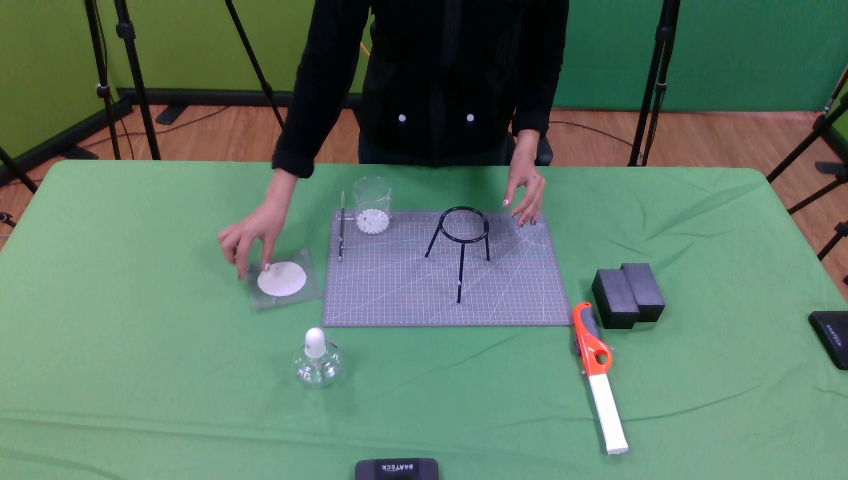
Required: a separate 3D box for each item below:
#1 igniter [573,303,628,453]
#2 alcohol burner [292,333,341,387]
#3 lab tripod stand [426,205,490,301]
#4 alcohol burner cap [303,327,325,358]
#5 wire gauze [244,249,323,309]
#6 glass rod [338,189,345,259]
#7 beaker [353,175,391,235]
[{"bbox_3d":[0.288,0.217,1.006,0.057,0.025,0.274,-9,46,8],"label":"igniter"},{"bbox_3d":[-0.170,0.179,0.950,0.078,0.120,0.077,2,48,-2],"label":"alcohol burner"},{"bbox_3d":[0.069,0.016,1.105,0.148,0.132,0.147,3,47,-3],"label":"lab tripod stand"},{"bbox_3d":[-0.169,0.154,0.924,0.034,0.048,0.033,4,41,-3],"label":"alcohol burner cap"},{"bbox_3d":[-0.262,0.073,1.120,0.125,0.011,0.120,-11,48,-17],"label":"wire gauze"},{"bbox_3d":[-0.166,-0.037,1.226,0.008,0.008,0.198,-1,47,-4],"label":"glass rod"},{"bbox_3d":[-0.104,-0.065,1.196,0.074,0.101,0.084,24,50,18],"label":"beaker"}]
